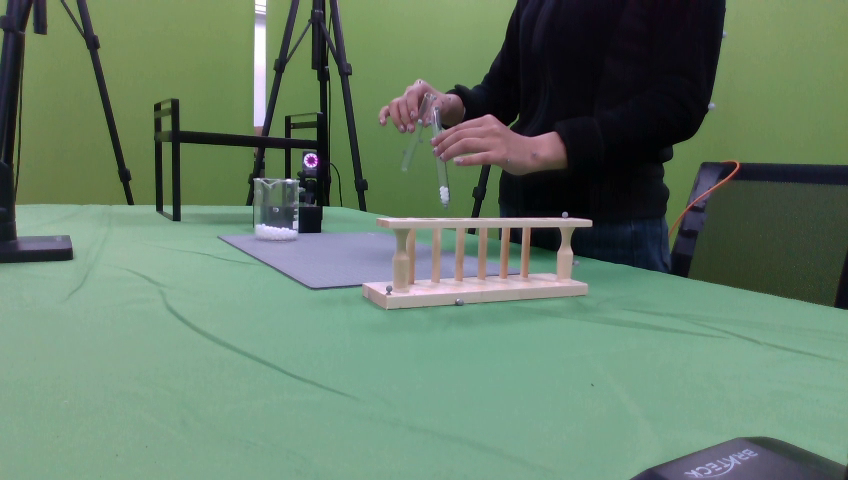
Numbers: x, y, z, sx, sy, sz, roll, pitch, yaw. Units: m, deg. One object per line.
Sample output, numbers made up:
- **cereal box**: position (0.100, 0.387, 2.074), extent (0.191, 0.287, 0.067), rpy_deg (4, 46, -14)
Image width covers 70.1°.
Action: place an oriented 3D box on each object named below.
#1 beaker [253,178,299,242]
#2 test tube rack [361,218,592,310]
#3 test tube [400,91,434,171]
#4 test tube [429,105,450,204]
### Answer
- **beaker**: position (-0.243, -0.050, 0.990), extent (0.074, 0.100, 0.084), rpy_deg (2, 9, 1)
- **test tube rack**: position (0.060, 0.019, 0.640), extent (0.243, 0.085, 0.066), rpy_deg (-1, 8, -27)
- **test tube**: position (-0.013, -0.169, 0.960), extent (0.017, 0.150, 0.017), rpy_deg (13, 42, -11)
- **test tube**: position (0.023, -0.125, 0.881), extent (0.017, 0.150, 0.017), rpy_deg (-6, -12, -1)
